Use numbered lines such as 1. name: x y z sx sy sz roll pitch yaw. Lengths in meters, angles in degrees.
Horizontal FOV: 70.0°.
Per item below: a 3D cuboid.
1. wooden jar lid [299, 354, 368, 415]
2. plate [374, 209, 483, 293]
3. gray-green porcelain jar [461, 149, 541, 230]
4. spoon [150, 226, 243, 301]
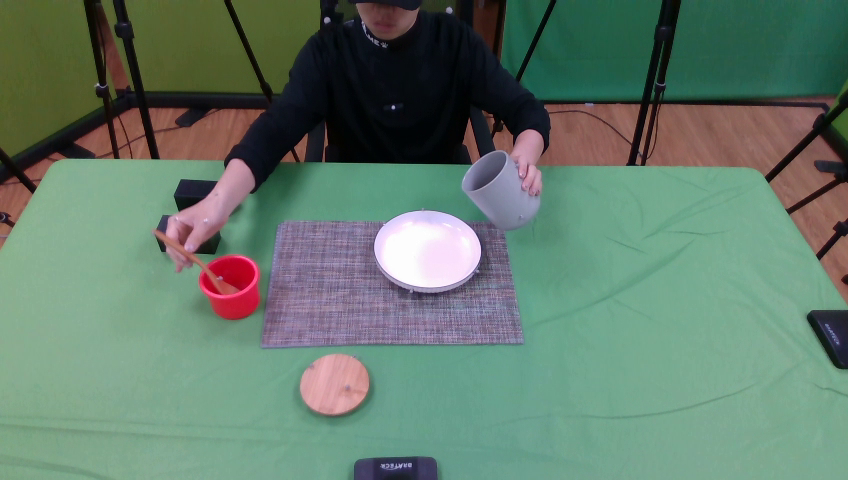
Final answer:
1. wooden jar lid: -0.143 0.232 0.964 0.108 0.021 0.107 2 45 -2
2. plate: 0.008 0.024 1.158 0.208 0.039 0.206 2 46 -2
3. gray-green porcelain jar: 0.148 -0.089 1.129 0.106 0.127 0.105 -33 31 23
4. spoon: -0.375 0.039 1.007 0.021 0.195 0.041 -32 31 9
